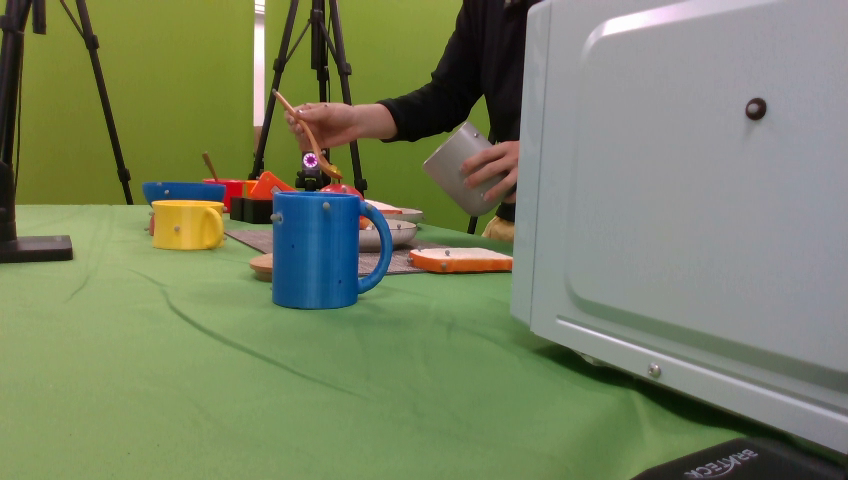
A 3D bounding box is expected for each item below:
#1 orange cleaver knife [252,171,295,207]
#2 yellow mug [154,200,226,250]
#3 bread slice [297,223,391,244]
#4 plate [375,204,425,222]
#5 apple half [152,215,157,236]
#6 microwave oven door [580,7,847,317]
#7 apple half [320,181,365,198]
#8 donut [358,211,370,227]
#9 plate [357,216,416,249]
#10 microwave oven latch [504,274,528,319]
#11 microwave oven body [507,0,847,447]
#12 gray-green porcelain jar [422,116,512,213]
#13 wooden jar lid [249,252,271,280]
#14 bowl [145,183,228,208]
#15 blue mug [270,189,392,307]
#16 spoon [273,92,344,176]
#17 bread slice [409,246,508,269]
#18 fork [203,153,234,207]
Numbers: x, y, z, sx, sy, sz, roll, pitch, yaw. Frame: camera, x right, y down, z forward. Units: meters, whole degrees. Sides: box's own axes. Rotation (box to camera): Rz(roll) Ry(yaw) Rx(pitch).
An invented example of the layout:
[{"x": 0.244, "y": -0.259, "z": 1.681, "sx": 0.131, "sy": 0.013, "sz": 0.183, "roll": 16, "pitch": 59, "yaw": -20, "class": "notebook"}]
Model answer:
[{"x": -0.283, "y": -0.087, "z": 1.343, "sx": 0.212, "sy": 0.077, "sz": 0.012, "roll": 24, "pitch": -16, "yaw": -41, "class": "orange cleaver knife"}, {"x": -0.337, "y": -0.022, "z": 0.899, "sx": 0.130, "sy": 0.064, "sz": 0.100, "roll": 8, "pitch": 9, "yaw": 34, "class": "yellow mug"}, {"x": -0.121, "y": -0.012, "z": 0.971, "sx": 0.106, "sy": 0.018, "sz": 0.135, "roll": 9, "pitch": 12, "yaw": 42, "class": "bread slice"}, {"x": -0.102, "y": -0.053, "z": 1.299, "sx": 0.209, "sy": 0.038, "sz": 0.209, "roll": 2, "pitch": 8, "yaw": 0, "class": "plate"}, {"x": -0.415, "y": -0.034, "z": 1.017, "sx": 0.081, "sy": 0.053, "sz": 0.074, "roll": 1, "pitch": 10, "yaw": -9, "class": "apple half"}, {"x": 0.295, "y": -0.067, "z": 0.570, "sx": 0.358, "sy": 0.243, "sz": 0.039, "roll": -3, "pitch": 9, "yaw": -31, "class": "microwave oven door"}, {"x": -0.130, "y": -0.077, "z": 0.952, "sx": 0.081, "sy": 0.033, "sz": 0.081, "roll": 4, "pitch": 14, "yaw": -1, "class": "apple half"}, {"x": -0.132, "y": -0.042, "z": 0.959, "sx": 0.099, "sy": 0.048, "sz": 0.099, "roll": 2, "pitch": 8, "yaw": 0, "class": "donut"}, {"x": -0.116, "y": -0.014, "z": 0.967, "sx": 0.208, "sy": 0.039, "sz": 0.207, "roll": 2, "pitch": 7, "yaw": 0, "class": "plate"}, {"x": 0.100, "y": 0.041, "z": 0.470, "sx": 0.079, "sy": 0.029, "sz": 0.030, "roll": -1, "pitch": 7, "yaw": -27, "class": "microwave oven latch"}, {"x": 0.331, "y": -0.042, "z": 0.425, "sx": 0.444, "sy": 0.260, "sz": 0.324, "roll": -2, "pitch": 8, "yaw": -31, "class": "microwave oven body"}, {"x": 0.077, "y": -0.115, "z": 0.957, "sx": 0.126, "sy": 0.106, "sz": 0.106, "roll": 44, "pitch": 4, "yaw": -7, "class": "gray-green porcelain jar"}, {"x": -0.148, "y": 0.028, "z": 0.708, "sx": 0.108, "sy": 0.020, "sz": 0.108, "roll": -1, "pitch": 10, "yaw": 0, "class": "wooden jar lid"}, {"x": -0.459, "y": -0.069, "z": 1.175, "sx": 0.151, "sy": 0.077, "sz": 0.151, "roll": 2, "pitch": 7, "yaw": 0, "class": "bowl"}, {"x": -0.090, "y": 0.005, "z": 0.588, "sx": 0.117, "sy": 0.106, "sz": 0.082, "roll": 1, "pitch": 7, "yaw": -11, "class": "blue mug"}, {"x": -0.187, "y": -0.171, "z": 0.967, "sx": 0.021, "sy": 0.193, "sz": 0.042, "roll": -38, "pitch": -18, "yaw": 12, "class": "spoon"}, {"x": 0.048, "y": 0.021, "z": 0.816, "sx": 0.132, "sy": 0.019, "sz": 0.104, "roll": 0, "pitch": 7, "yaw": -24, "class": "bread slice"}, {"x": -0.480, "y": -0.135, "z": 1.411, "sx": 0.028, "sy": 0.018, "sz": 0.207, "roll": 1, "pitch": -34, "yaw": -1, "class": "fork"}]
